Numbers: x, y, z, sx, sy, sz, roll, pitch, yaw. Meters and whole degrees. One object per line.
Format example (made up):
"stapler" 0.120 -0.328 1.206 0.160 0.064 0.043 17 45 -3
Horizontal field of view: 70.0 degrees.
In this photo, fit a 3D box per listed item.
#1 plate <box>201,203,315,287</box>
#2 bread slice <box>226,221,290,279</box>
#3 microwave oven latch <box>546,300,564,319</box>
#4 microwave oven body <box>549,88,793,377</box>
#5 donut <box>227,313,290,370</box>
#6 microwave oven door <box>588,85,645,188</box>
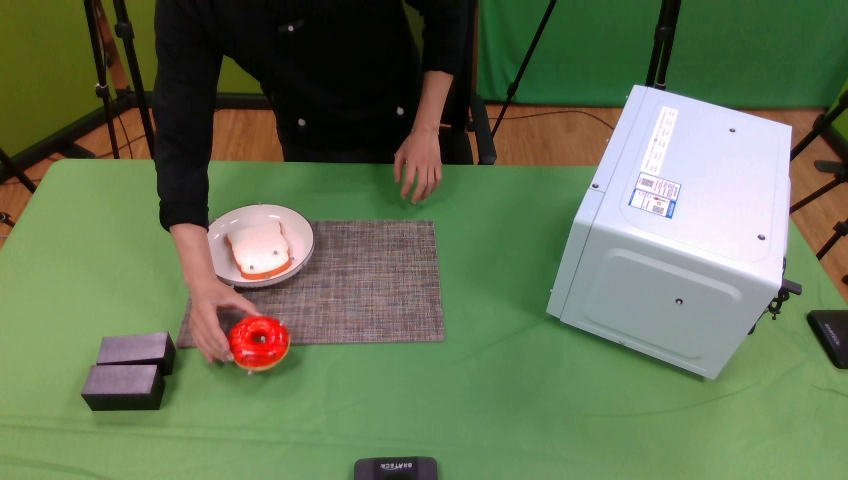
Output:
"plate" -0.310 0.013 1.145 0.208 0.039 0.206 2 46 -2
"bread slice" -0.308 0.019 1.141 0.105 0.019 0.130 -17 49 -18
"microwave oven latch" 0.242 0.102 1.080 0.030 0.029 0.079 22 48 17
"microwave oven body" 0.456 -0.028 1.087 0.325 0.261 0.440 20 47 16
"donut" -0.266 0.162 0.972 0.099 0.048 0.098 5 50 -6
"microwave oven door" 0.342 -0.107 1.149 0.039 0.245 0.354 20 48 15
